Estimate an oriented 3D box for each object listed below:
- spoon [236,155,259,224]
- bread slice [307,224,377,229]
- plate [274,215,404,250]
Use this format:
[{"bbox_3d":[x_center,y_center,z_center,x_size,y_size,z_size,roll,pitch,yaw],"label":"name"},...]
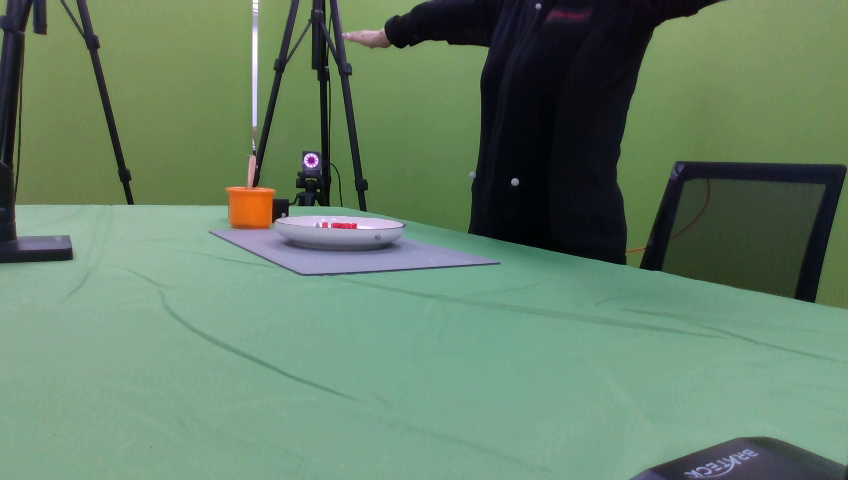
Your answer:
[{"bbox_3d":[-0.344,-0.102,1.196,0.042,0.193,0.021,-1,-36,-8],"label":"spoon"},{"bbox_3d":[-0.133,-0.011,0.974,0.135,0.018,0.106,-3,8,-33],"label":"bread slice"},{"bbox_3d":[-0.136,-0.013,0.981,0.209,0.038,0.209,2,7,0],"label":"plate"}]
